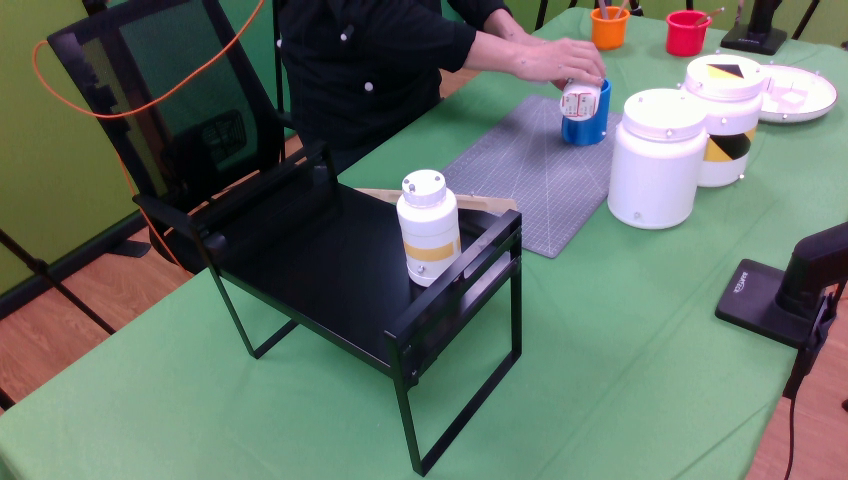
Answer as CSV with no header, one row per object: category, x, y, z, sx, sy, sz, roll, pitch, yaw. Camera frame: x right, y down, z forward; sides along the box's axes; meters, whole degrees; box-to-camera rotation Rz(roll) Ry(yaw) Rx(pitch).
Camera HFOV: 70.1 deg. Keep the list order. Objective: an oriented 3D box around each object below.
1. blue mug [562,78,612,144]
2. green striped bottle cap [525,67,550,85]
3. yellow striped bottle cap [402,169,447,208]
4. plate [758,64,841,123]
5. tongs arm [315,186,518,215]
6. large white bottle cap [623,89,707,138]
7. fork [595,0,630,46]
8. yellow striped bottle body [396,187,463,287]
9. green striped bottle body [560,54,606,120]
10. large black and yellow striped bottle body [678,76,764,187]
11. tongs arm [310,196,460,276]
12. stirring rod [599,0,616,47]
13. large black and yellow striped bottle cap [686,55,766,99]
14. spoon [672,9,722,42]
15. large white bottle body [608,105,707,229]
blue mug,0.298,-0.239,1.143,0.117,0.106,0.081,-37,48,-29
green striped bottle cap,0.210,-0.304,1.116,0.044,0.020,0.044,16,6,-1
yellow striped bottle cap,0.000,-0.052,0.605,0.044,0.019,0.044,-5,42,5
plate,0.694,-0.283,1.189,0.207,0.039,0.206,-4,40,4
tongs arm,-0.028,-0.060,0.988,0.382,0.027,0.051,9,45,36
large white bottle cap,0.352,-0.187,0.886,0.115,0.018,0.114,-4,41,4
fork,0.480,-0.556,1.453,0.028,0.019,0.207,41,103,40
yellow striped bottle body,0.006,-0.013,0.638,0.063,0.121,0.062,-5,41,5
green striped bottle body,0.276,-0.267,1.039,0.063,0.063,0.119,9,55,19
large black and yellow striped bottle body,0.482,-0.196,1.008,0.131,0.185,0.130,-4,41,4
tongs arm,-0.078,-0.012,0.943,0.028,0.028,0.384,-43,39,-23
stirring rod,0.437,-0.551,1.462,0.014,0.006,0.175,-11,83,0
large black and yellow striped bottle cap,0.474,-0.258,0.952,0.115,0.019,0.114,-5,41,5
spoon,0.606,-0.476,1.345,0.042,0.021,0.193,-6,-3,-2
large white bottle body,0.361,-0.124,0.941,0.130,0.185,0.130,-5,41,4
